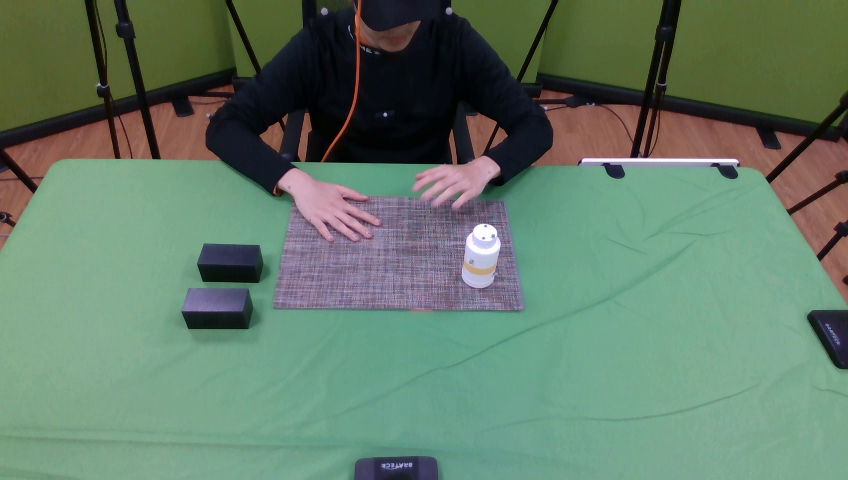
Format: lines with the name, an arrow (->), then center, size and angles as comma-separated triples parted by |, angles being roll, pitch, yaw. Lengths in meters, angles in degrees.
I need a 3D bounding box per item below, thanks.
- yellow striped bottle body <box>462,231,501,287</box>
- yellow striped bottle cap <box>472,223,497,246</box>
yellow striped bottle body -> 0.105, 0.025, 1.106 | 0.063, 0.121, 0.062 | 2, 47, -2
yellow striped bottle cap -> 0.107, -0.010, 1.068 | 0.044, 0.019, 0.044 | 3, 47, -3
